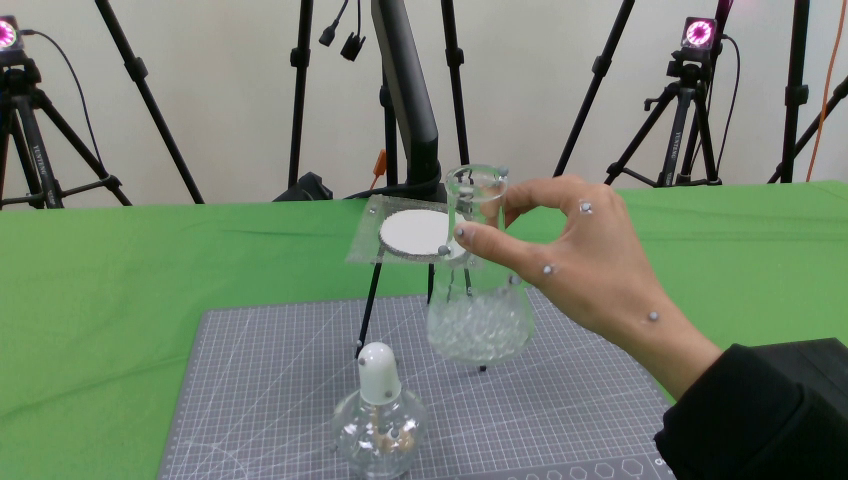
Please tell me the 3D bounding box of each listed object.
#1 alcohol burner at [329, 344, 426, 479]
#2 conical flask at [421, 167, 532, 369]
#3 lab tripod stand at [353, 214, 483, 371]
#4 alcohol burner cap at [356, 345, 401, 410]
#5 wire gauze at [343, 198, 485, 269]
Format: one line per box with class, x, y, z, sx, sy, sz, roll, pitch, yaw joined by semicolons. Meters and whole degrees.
alcohol burner;-0.037;0.132;0.478;0.078;0.120;0.077;1;28;0
conical flask;0.033;0.016;0.387;0.075;0.123;0.074;-3;30;2
lab tripod stand;0.001;0.052;0.602;0.148;0.132;0.147;3;29;-1
alcohol burner cap;-0.036;0.102;0.459;0.034;0.048;0.033;-4;33;3
wire gauze;-0.004;-0.006;0.569;0.121;0.011;0.124;5;30;4
